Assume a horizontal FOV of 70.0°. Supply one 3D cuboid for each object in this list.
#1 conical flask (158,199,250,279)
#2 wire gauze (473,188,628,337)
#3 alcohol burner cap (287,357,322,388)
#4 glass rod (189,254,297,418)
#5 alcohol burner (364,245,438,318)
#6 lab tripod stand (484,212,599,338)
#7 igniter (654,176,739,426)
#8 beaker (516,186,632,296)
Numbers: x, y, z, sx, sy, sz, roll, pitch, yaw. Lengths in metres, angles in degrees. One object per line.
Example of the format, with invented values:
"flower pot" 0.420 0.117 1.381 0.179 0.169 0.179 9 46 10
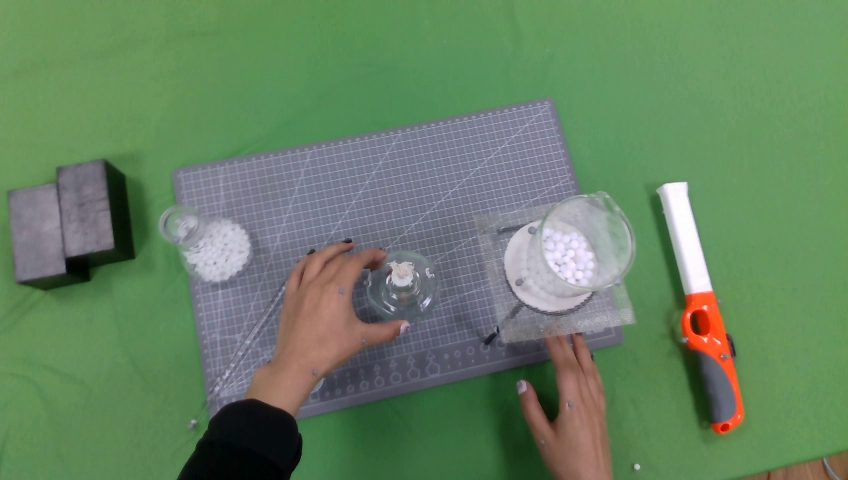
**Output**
"conical flask" -0.226 -0.007 0.608 0.075 0.122 0.075 1 77 -2
"wire gauze" 0.115 0.020 0.548 0.125 0.011 0.121 -9 82 -6
"alcohol burner cap" -0.125 0.136 0.625 0.034 0.048 0.033 1 78 -3
"glass rod" -0.191 0.099 0.645 0.008 0.008 0.199 30 78 4
"alcohol burner" -0.024 0.039 0.614 0.078 0.119 0.077 0 78 0
"lab tripod stand" 0.112 0.036 0.612 0.148 0.132 0.148 1 79 -3
"igniter" 0.302 0.063 0.673 0.057 0.025 0.275 -5 78 -15
"beaker" 0.119 0.005 0.502 0.074 0.100 0.083 23 78 2
